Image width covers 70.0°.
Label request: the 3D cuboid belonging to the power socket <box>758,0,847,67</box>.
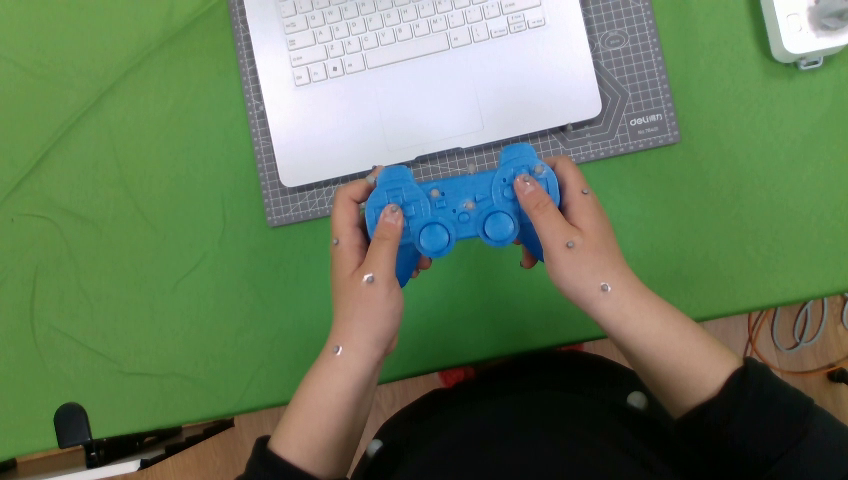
[{"bbox_3d":[0.369,-0.289,0.608,0.072,0.032,0.226,-10,87,7],"label":"power socket"}]

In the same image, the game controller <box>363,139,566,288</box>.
[{"bbox_3d":[0.029,-0.019,0.457,0.155,0.051,0.097,-10,98,2],"label":"game controller"}]

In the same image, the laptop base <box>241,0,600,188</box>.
[{"bbox_3d":[-0.011,-0.207,0.654,0.354,0.023,0.235,-13,89,6],"label":"laptop base"}]

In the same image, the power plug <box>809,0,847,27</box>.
[{"bbox_3d":[0.409,-0.223,0.581,0.072,0.053,0.035,1,87,3],"label":"power plug"}]
